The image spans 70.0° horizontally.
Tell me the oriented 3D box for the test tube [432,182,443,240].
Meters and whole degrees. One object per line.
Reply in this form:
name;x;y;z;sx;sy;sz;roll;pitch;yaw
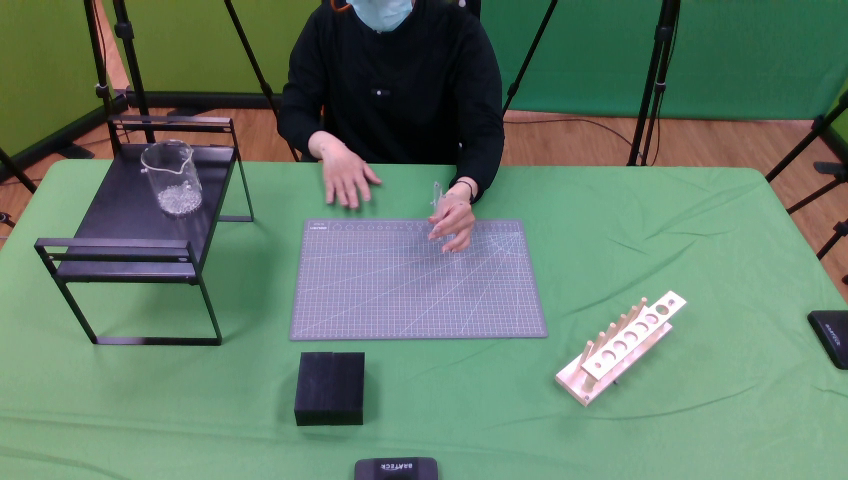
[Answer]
test tube;0.024;-0.047;1.067;0.017;0.151;0.017;-1;54;2

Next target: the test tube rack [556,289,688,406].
test tube rack;0.332;0.166;1.014;0.242;0.085;0.066;-30;55;-28

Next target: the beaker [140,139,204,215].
beaker;-0.391;-0.095;0.954;0.074;0.101;0.083;-30;56;-27
